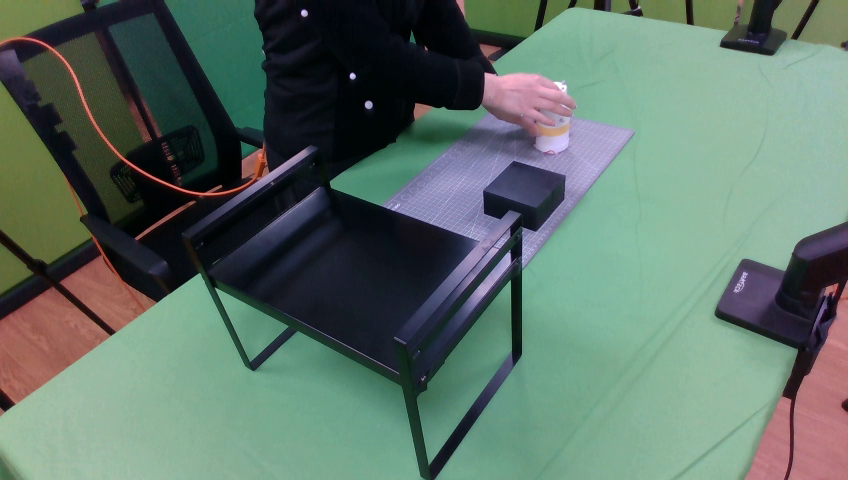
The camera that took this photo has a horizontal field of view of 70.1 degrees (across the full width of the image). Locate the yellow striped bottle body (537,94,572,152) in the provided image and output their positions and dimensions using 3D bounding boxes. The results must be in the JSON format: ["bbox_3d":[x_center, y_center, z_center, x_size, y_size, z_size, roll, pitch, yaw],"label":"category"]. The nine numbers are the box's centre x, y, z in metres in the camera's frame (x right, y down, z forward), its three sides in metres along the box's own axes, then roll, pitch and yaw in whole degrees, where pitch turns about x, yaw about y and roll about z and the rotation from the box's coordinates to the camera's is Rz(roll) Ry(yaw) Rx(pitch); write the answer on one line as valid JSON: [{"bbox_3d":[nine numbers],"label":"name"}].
[{"bbox_3d":[0.243,-0.231,1.128,0.063,0.121,0.062,-4,41,4],"label":"yellow striped bottle body"}]

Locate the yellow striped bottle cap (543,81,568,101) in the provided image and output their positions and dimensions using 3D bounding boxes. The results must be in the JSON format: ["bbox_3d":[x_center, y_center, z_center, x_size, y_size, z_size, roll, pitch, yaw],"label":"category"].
[{"bbox_3d":[0.238,-0.270,1.093,0.044,0.019,0.044,-3,40,3],"label":"yellow striped bottle cap"}]
